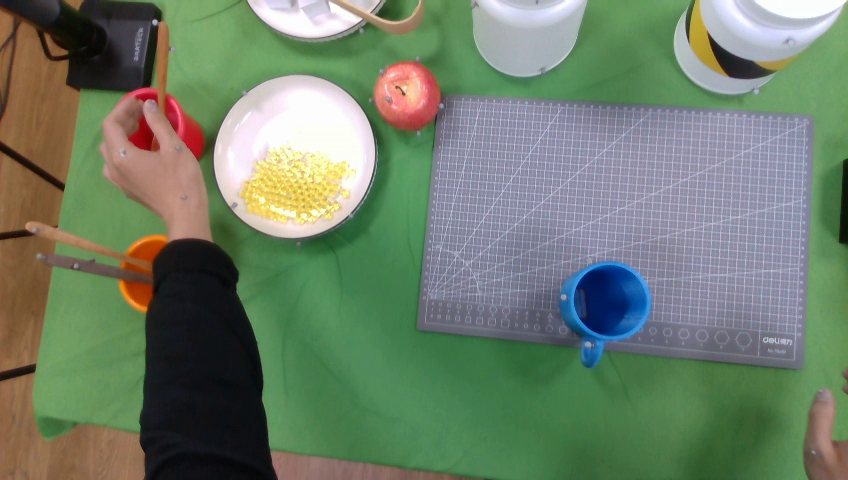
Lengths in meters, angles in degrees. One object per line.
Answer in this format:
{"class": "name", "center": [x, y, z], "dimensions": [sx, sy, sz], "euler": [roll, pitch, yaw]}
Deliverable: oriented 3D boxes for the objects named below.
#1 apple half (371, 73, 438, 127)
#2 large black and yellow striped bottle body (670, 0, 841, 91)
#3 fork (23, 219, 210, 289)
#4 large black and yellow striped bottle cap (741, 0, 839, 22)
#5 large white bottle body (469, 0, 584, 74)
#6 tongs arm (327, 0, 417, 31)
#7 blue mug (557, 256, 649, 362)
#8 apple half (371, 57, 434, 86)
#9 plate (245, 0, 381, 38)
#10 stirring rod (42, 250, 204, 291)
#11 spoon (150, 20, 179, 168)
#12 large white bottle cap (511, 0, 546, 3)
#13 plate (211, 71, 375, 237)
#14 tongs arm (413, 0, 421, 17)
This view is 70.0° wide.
{"class": "apple half", "center": [-0.021, -0.165, 0.737], "dimensions": [0.081, 0.075, 0.053], "euler": [-9, 88, 1]}
{"class": "large black and yellow striped bottle body", "center": [0.356, -0.253, 0.653], "dimensions": [0.130, 0.184, 0.130], "euler": [-1, 84, 6]}
{"class": "fork", "center": [-0.355, 0.017, 0.713], "dimensions": [0.209, 0.018, 0.028], "euler": [25, 85, -36]}
{"class": "large black and yellow striped bottle cap", "center": [0.347, -0.264, 0.570], "dimensions": [0.115, 0.019, 0.115], "euler": [0, 86, 5]}
{"class": "large white bottle body", "center": [0.115, -0.281, 0.678], "dimensions": [0.130, 0.185, 0.130], "euler": [-1, 84, 6]}
{"class": "tongs arm", "center": [-0.180, -0.357, 0.755], "dimensions": [0.383, 0.026, 0.050], "euler": [34, 85, 10]}
{"class": "blue mug", "center": [0.192, 0.079, 0.675], "dimensions": [0.082, 0.106, 0.116], "euler": [13, 86, 7]}
{"class": "apple half", "center": [-0.027, -0.203, 0.740], "dimensions": [0.081, 0.081, 0.033], "euler": [-10, 88, 5]}
{"class": "plate", "center": [-0.138, -0.358, 0.783], "dimensions": [0.207, 0.039, 0.207], "euler": [-1, 85, 6]}
{"class": "stirring rod", "center": [-0.348, 0.038, 0.713], "dimensions": [0.177, 0.006, 0.014], "euler": [16, 73, -33]}
{"class": "spoon", "center": [-0.316, -0.169, 0.730], "dimensions": [0.041, 0.021, 0.195], "euler": [25, 132, 8]}
{"class": "large white bottle cap", "center": [0.105, -0.290, 0.594], "dimensions": [0.115, 0.018, 0.114], "euler": [-1, 84, 6]}
{"class": "plate", "center": [-0.162, -0.106, 0.763], "dimensions": [0.209, 0.038, 0.208], "euler": [-1, 85, 6]}
{"class": "tongs arm", "center": [-0.127, -0.421, 0.758], "dimensions": [0.028, 0.028, 0.386], "euler": [-41, 80, -6]}
